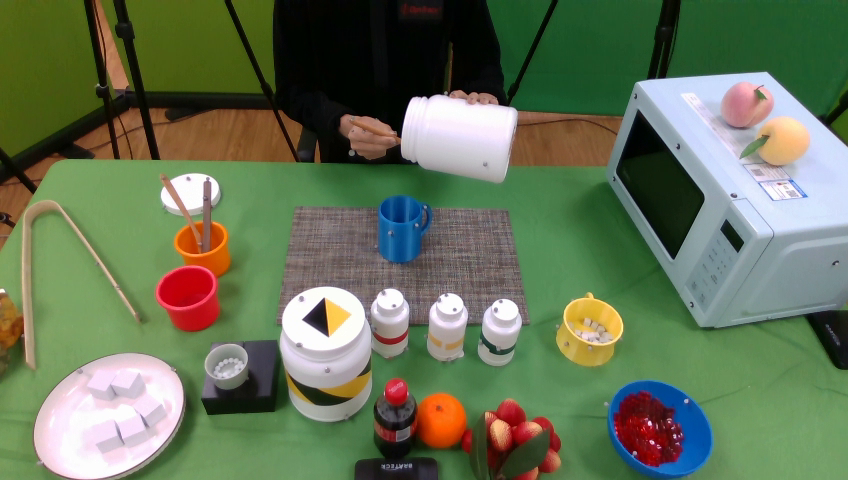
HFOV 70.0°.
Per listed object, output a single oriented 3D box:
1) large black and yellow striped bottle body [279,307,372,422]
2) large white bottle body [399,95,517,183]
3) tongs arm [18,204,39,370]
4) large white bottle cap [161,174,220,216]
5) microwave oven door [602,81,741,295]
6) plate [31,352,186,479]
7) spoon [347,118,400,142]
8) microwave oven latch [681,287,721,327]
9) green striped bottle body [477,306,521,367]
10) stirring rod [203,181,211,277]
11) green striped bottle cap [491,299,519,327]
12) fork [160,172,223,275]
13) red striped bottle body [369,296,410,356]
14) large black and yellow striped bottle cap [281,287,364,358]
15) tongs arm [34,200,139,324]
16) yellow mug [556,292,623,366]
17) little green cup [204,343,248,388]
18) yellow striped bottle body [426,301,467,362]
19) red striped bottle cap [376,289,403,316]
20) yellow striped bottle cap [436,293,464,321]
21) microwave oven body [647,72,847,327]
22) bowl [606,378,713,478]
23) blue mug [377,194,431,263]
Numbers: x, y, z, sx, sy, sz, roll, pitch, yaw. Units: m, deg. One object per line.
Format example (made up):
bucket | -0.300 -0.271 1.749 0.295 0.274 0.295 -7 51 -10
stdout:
large black and yellow striped bottle body | -0.145 0.173 0.907 0.131 0.185 0.130 2 46 -2
large white bottle body | 0.059 -0.178 1.050 0.184 0.131 0.130 12 46 7
tongs arm | -0.698 0.069 1.069 0.028 0.028 0.385 -20 51 -13
large white bottle cap | -0.483 -0.095 1.253 0.115 0.018 0.114 2 46 -2
microwave oven door | 0.456 -0.107 1.162 0.039 0.245 0.353 -7 47 -11
plate | -0.459 0.262 0.898 0.209 0.038 0.208 2 46 -2
spoon | -0.042 -0.170 1.054 0.194 0.041 0.021 25 69 -10
microwave oven latch | 0.494 0.119 1.087 0.030 0.029 0.078 -6 46 -9
green striped bottle body | 0.124 0.151 0.995 0.063 0.120 0.063 2 46 -2
stirring rod | -0.396 -0.021 1.107 0.014 0.006 0.176 -1 89 -1
green striped bottle cap | 0.128 0.115 0.958 0.044 0.020 0.044 1 47 -1
fork | -0.425 -0.030 1.103 0.028 0.018 0.207 -29 98 -19
red striped bottle body | -0.059 0.135 0.997 0.063 0.120 0.062 6 49 -6
large black and yellow striped bottle cap | -0.141 0.112 0.847 0.115 0.019 0.114 5 45 -4
tongs arm | -0.622 0.034 1.105 0.051 0.026 0.382 -32 56 -25
yellow mug | 0.285 0.145 1.051 0.100 0.064 0.130 7 45 3
little green cup | -0.294 0.190 0.909 0.061 0.039 0.061 1 48 0
yellow striped bottle body | 0.037 0.142 0.996 0.063 0.121 0.062 2 46 -2
red striped bottle cap | -0.054 0.098 0.958 0.044 0.018 0.044 0 48 1
yellow striped bottle cap | 0.041 0.106 0.959 0.044 0.019 0.044 0 50 1
microwave oven body | 0.607 -0.089 1.164 0.326 0.261 0.438 -7 46 -10
bowl | 0.340 0.292 0.906 0.151 0.077 0.150 2 46 -2
blue mug | -0.035 -0.027 1.159 0.116 0.106 0.082 -24 53 -26
